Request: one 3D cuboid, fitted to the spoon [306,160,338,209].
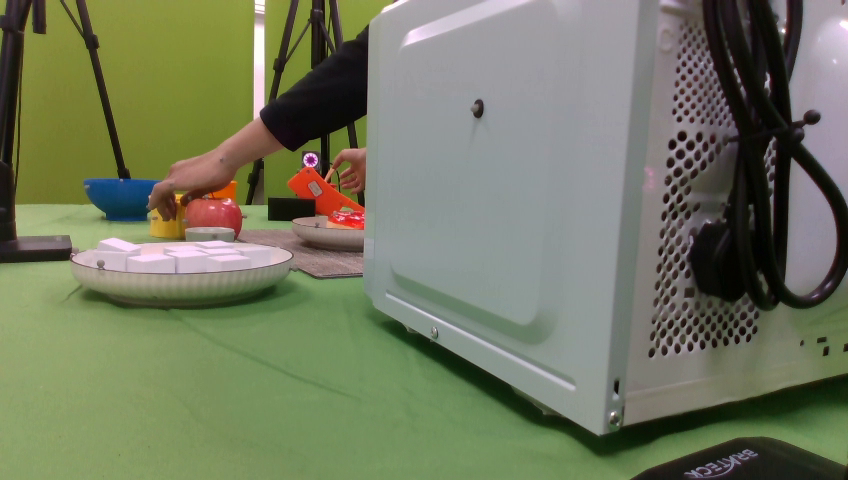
[{"bbox_3d":[-0.257,-0.147,1.567,0.041,0.022,0.193,2,51,20],"label":"spoon"}]

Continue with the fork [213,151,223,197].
[{"bbox_3d":[-0.494,-0.143,1.442,0.028,0.018,0.206,-3,52,-19],"label":"fork"}]

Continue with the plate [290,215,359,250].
[{"bbox_3d":[-0.110,-0.013,0.974,0.209,0.038,0.209,3,8,0],"label":"plate"}]

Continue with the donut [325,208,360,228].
[{"bbox_3d":[-0.111,-0.025,0.974,0.099,0.048,0.099,5,8,0],"label":"donut"}]

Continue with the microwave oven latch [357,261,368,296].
[{"bbox_3d":[-0.019,0.033,0.532,0.079,0.029,0.030,-1,8,-29],"label":"microwave oven latch"}]

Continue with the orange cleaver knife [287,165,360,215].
[{"bbox_3d":[-0.211,-0.093,1.382,0.212,0.077,0.012,33,1,-15],"label":"orange cleaver knife"}]

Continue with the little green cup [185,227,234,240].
[{"bbox_3d":[-0.285,0.005,0.805,0.061,0.038,0.061,2,8,0],"label":"little green cup"}]

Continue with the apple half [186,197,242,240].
[{"bbox_3d":[-0.307,-0.026,0.905,0.053,0.074,0.081,14,9,37],"label":"apple half"}]

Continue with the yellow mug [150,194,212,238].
[{"bbox_3d":[-0.401,-0.040,1.003,0.100,0.064,0.130,0,9,-20],"label":"yellow mug"}]

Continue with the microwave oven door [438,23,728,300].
[{"bbox_3d":[0.181,-0.073,0.620,0.358,0.243,0.039,-2,8,-29],"label":"microwave oven door"}]

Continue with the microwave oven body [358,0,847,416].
[{"bbox_3d":[0.211,-0.047,0.474,0.444,0.260,0.324,-1,7,-28],"label":"microwave oven body"}]

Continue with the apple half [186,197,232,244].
[{"bbox_3d":[-0.337,-0.031,0.929,0.032,0.081,0.082,13,12,37],"label":"apple half"}]

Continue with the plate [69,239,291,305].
[{"bbox_3d":[-0.242,0.031,0.618,0.208,0.039,0.207,2,8,0],"label":"plate"}]

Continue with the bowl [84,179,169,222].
[{"bbox_3d":[-0.584,-0.078,1.194,0.151,0.077,0.151,3,8,0],"label":"bowl"}]
